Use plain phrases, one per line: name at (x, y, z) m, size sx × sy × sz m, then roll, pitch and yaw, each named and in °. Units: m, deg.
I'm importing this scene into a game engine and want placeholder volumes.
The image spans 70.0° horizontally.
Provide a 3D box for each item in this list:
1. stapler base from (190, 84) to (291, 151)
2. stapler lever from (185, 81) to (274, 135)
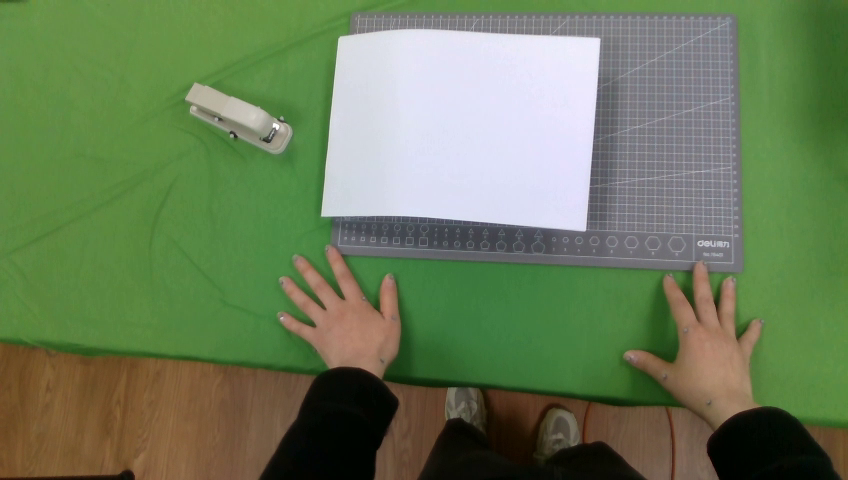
stapler base at (-0.222, -0.149, 0.723) m, size 0.130 × 0.024 × 0.041 m, roll 25°, pitch 82°, yaw 11°
stapler lever at (-0.227, -0.154, 0.700) m, size 0.117 × 0.040 × 0.027 m, roll 26°, pitch 81°, yaw 10°
